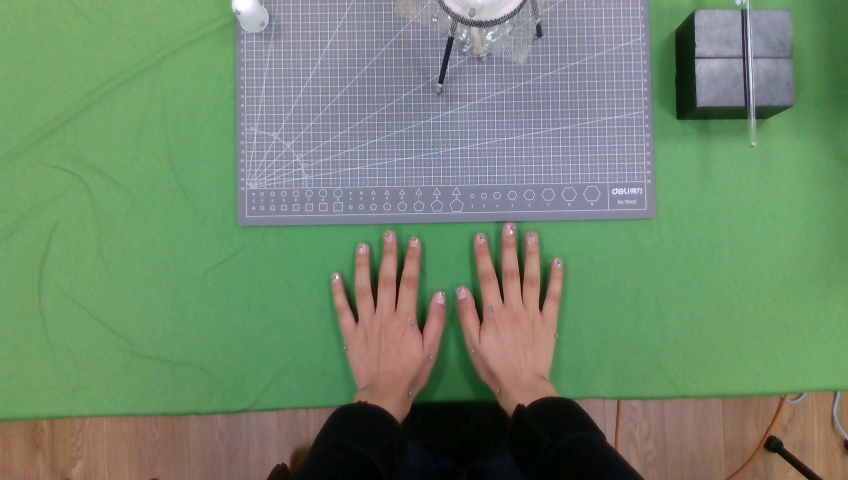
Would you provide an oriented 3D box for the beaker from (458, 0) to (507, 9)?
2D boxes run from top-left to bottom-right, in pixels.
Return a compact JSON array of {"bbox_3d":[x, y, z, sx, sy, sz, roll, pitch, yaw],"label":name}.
[{"bbox_3d":[0.049,-0.239,0.482,0.074,0.100,0.084,-25,87,-2],"label":"beaker"}]

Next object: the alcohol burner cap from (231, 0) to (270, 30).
[{"bbox_3d":[-0.185,-0.247,0.639,0.034,0.048,0.034,0,87,2],"label":"alcohol burner cap"}]

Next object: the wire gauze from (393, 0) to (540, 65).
[{"bbox_3d":[0.049,-0.233,0.530,0.125,0.011,0.121,21,89,-2],"label":"wire gauze"}]

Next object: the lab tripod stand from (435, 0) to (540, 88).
[{"bbox_3d":[0.053,-0.231,0.595,0.148,0.131,0.148,0,86,-1],"label":"lab tripod stand"}]

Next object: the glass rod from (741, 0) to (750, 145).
[{"bbox_3d":[0.325,-0.195,0.613,0.008,0.008,0.199,0,88,0],"label":"glass rod"}]

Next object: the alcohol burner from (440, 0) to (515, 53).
[{"bbox_3d":[0.055,-0.234,0.605,0.078,0.119,0.078,0,87,-2],"label":"alcohol burner"}]
